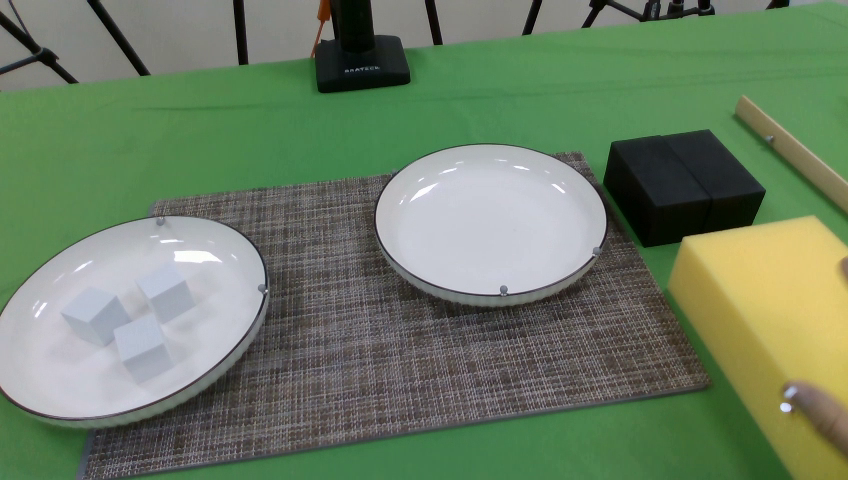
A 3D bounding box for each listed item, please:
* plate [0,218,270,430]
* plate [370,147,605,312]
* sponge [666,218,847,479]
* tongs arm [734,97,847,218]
[{"bbox_3d":[-0.227,0.063,0.487,0.209,0.038,0.207,-1,43,1],"label":"plate"},{"bbox_3d":[0.056,-0.010,0.552,0.208,0.039,0.205,-1,44,1],"label":"plate"},{"bbox_3d":[0.283,0.080,0.435,0.118,0.061,0.204,-11,45,-7],"label":"sponge"},{"bbox_3d":[0.415,-0.029,0.566,0.028,0.028,0.383,-10,44,-12],"label":"tongs arm"}]
